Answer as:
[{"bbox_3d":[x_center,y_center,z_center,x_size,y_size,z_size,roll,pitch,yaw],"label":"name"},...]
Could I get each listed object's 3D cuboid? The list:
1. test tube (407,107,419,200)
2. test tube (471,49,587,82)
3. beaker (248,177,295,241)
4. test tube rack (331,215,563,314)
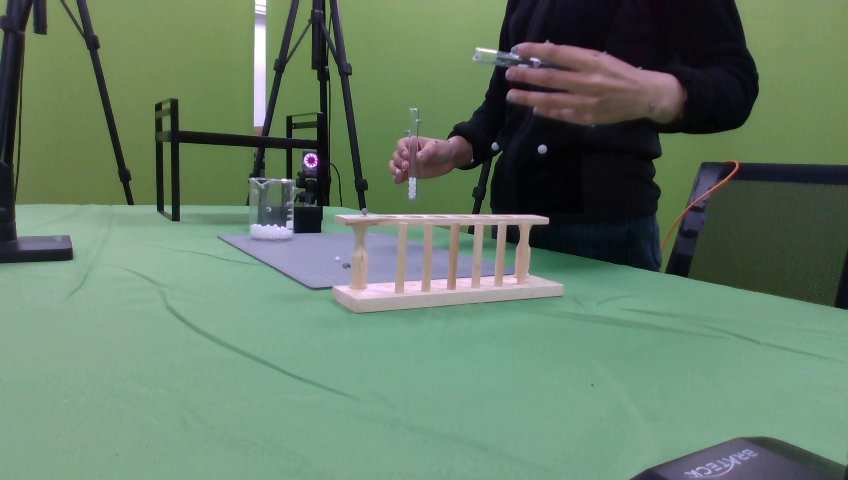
[{"bbox_3d":[-0.019,-0.139,0.977,0.017,0.150,0.017,2,14,0],"label":"test tube"},{"bbox_3d":[0.126,-0.206,0.714,0.151,0.017,0.017,5,6,-18],"label":"test tube"},{"bbox_3d":[-0.252,-0.051,0.992,0.074,0.100,0.084,3,9,6],"label":"beaker"},{"bbox_3d":[0.031,0.019,0.625,0.243,0.085,0.066,-1,8,-28],"label":"test tube rack"}]
